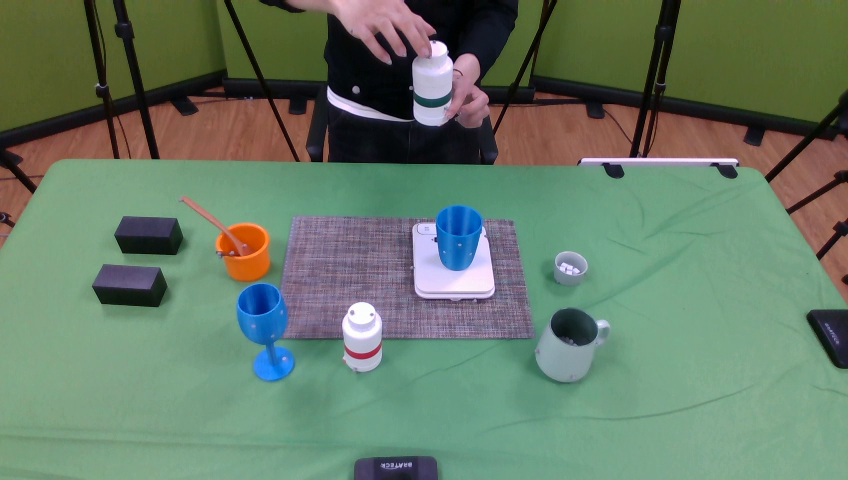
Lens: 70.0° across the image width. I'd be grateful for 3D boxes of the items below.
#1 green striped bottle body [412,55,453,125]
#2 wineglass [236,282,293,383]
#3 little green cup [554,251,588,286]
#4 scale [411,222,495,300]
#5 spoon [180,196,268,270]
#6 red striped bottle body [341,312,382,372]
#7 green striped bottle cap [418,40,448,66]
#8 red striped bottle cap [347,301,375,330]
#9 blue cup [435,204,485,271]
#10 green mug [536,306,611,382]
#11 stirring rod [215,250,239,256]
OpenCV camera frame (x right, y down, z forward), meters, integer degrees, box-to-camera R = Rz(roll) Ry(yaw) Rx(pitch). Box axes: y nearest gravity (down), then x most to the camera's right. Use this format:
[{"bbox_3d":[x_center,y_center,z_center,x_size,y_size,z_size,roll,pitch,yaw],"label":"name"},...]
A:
[{"bbox_3d":[0.013,-0.246,0.948,0.063,0.120,0.063,0,49,0],"label":"green striped bottle body"},{"bbox_3d":[-0.243,0.143,0.934,0.074,0.173,0.073,2,46,-2],"label":"wineglass"},{"bbox_3d":[0.277,0.055,1.151,0.061,0.039,0.061,1,46,-1],"label":"little green cup"},{"bbox_3d":[0.052,0.031,1.158,0.149,0.032,0.199,1,46,-4],"label":"scale"},{"bbox_3d":[-0.360,-0.014,1.094,0.021,0.194,0.041,-28,26,31],"label":"spoon"},{"bbox_3d":[-0.100,0.154,0.972,0.063,0.120,0.062,2,46,-2],"label":"red striped bottle body"},{"bbox_3d":[0.014,-0.280,0.908,0.044,0.020,0.044,0,53,0],"label":"green striped bottle cap"},{"bbox_3d":[-0.097,0.116,0.934,0.044,0.018,0.044,3,49,-3],"label":"red striped bottle cap"},{"bbox_3d":[0.061,0.001,1.097,0.092,0.101,0.092,1,44,0],"label":"blue cup"},{"bbox_3d":[0.250,0.167,0.996,0.125,0.105,0.092,-15,48,-18],"label":"green mug"},{"bbox_3d":[-0.339,0.024,1.059,0.014,0.176,0.006,17,86,-6],"label":"stirring rod"}]
